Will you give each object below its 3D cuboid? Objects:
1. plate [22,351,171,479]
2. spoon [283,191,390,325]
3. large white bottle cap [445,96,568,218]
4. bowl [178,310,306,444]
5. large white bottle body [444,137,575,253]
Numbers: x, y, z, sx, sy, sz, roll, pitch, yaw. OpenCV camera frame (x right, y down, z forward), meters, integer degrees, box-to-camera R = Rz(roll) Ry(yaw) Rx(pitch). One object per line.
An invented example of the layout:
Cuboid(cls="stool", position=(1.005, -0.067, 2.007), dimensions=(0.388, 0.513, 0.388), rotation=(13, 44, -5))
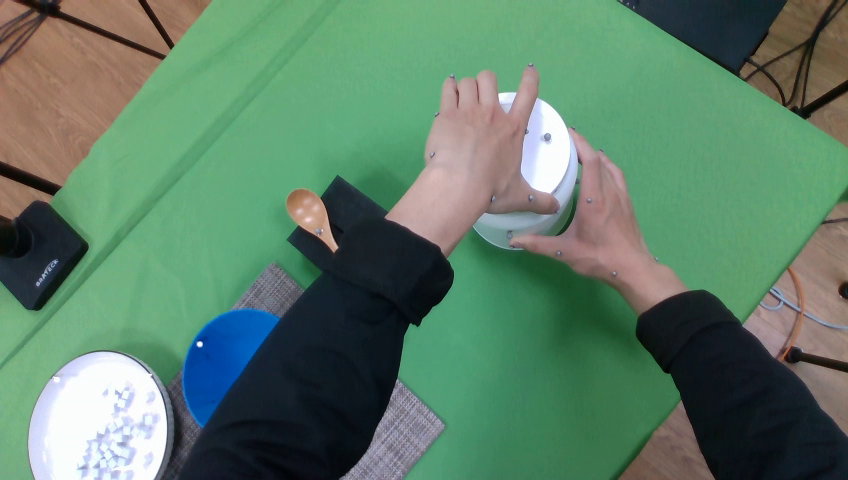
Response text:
Cuboid(cls="plate", position=(-0.408, 0.245, 0.767), dimensions=(0.208, 0.038, 0.208), rotation=(-3, 78, 13))
Cuboid(cls="spoon", position=(-0.101, 0.022, 0.709), dimensions=(0.041, 0.022, 0.193), rotation=(-36, 81, -3))
Cuboid(cls="large white bottle cap", position=(0.076, -0.077, 0.564), dimensions=(0.114, 0.018, 0.114), rotation=(-2, 82, 11))
Cuboid(cls="bowl", position=(-0.201, 0.160, 0.719), dimensions=(0.151, 0.077, 0.151), rotation=(-2, 80, 11))
Cuboid(cls="large white bottle body", position=(0.093, -0.063, 0.647), dimensions=(0.130, 0.185, 0.130), rotation=(-2, 80, 11))
